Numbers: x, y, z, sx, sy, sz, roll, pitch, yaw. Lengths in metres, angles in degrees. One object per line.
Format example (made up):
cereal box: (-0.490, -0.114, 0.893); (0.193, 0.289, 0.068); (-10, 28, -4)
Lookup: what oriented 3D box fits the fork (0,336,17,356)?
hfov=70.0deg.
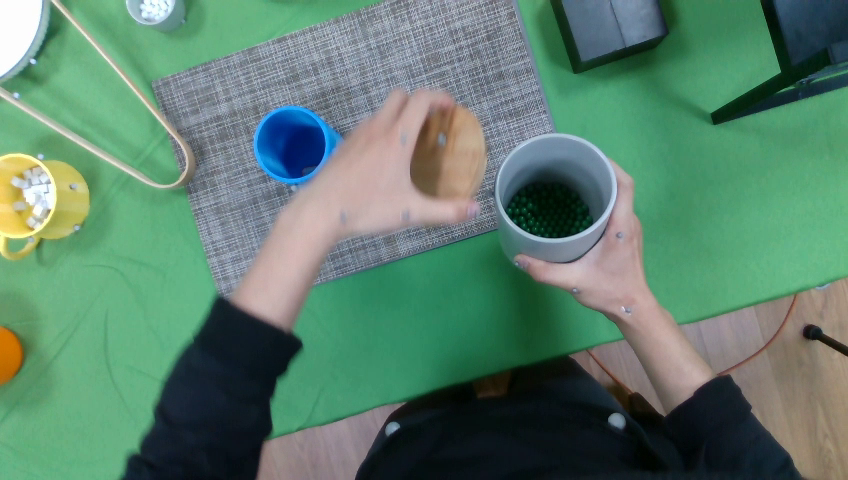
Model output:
fork: (-0.596, 0.137, 0.701); (0.208, 0.018, 0.028); (-4, 90, -40)

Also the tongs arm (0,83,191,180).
tongs arm: (-0.460, -0.176, 0.723); (0.385, 0.026, 0.051); (34, 89, -5)

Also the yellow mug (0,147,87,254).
yellow mug: (-0.481, -0.044, 0.733); (0.100, 0.064, 0.131); (21, 94, 2)

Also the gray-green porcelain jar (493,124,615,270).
gray-green porcelain jar: (0.120, -0.034, 0.581); (0.106, 0.127, 0.105); (-3, 70, 8)

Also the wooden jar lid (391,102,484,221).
wooden jar lid: (0.013, -0.067, 0.535); (0.021, 0.107, 0.108); (17, 93, -40)

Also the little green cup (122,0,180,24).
little green cup: (-0.328, -0.293, 0.731); (0.061, 0.038, 0.061); (0, 92, 3)

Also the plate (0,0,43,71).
plate: (-0.564, -0.298, 0.746); (0.207, 0.039, 0.207); (0, 92, 3)

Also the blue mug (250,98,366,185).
blue mug: (-0.123, -0.106, 0.687); (0.116, 0.106, 0.082); (8, 91, 3)

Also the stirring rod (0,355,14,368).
stirring rod: (-0.583, 0.152, 0.703); (0.006, 0.177, 0.014); (-27, 71, 46)

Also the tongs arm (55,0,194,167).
tongs arm: (-0.407, -0.242, 0.722); (0.028, 0.027, 0.388); (-42, 95, -5)
